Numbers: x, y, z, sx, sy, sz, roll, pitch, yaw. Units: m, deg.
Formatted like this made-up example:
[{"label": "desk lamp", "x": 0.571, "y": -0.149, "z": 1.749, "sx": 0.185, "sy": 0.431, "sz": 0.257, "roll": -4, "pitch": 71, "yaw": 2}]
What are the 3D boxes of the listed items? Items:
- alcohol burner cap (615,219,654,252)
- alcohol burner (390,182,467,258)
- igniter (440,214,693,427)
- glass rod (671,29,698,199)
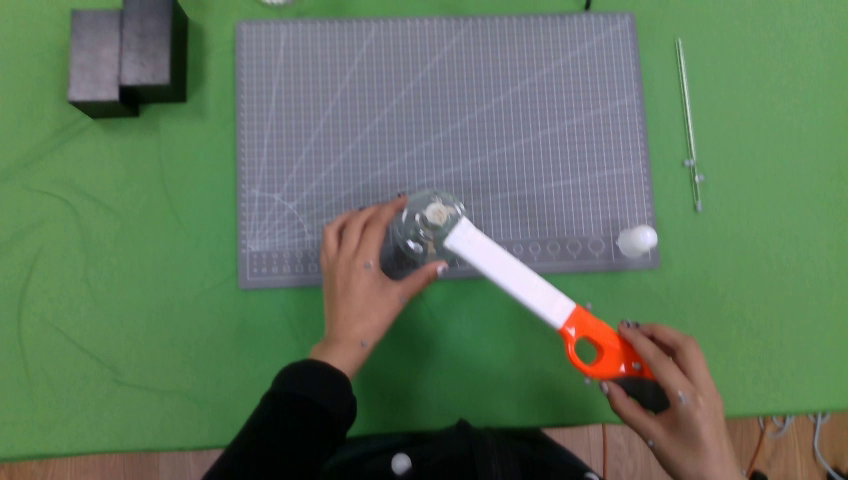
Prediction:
[{"label": "alcohol burner cap", "x": 0.225, "y": -0.007, "z": 0.641, "sx": 0.034, "sy": 0.048, "sz": 0.033, "roll": 1, "pitch": 82, "yaw": -3}, {"label": "alcohol burner", "x": 0.006, "y": -0.023, "z": 0.595, "sx": 0.078, "sy": 0.119, "sz": 0.077, "roll": 1, "pitch": 81, "yaw": -4}, {"label": "igniter", "x": 0.131, "y": 0.072, "z": 0.539, "sx": 0.277, "sy": 0.025, "sz": 0.057, "roll": 37, "pitch": 80, "yaw": -4}, {"label": "glass rod", "x": 0.293, "y": -0.144, "z": 0.682, "sx": 0.008, "sy": 0.008, "sz": 0.199, "roll": -4, "pitch": 83, "yaw": -4}]
